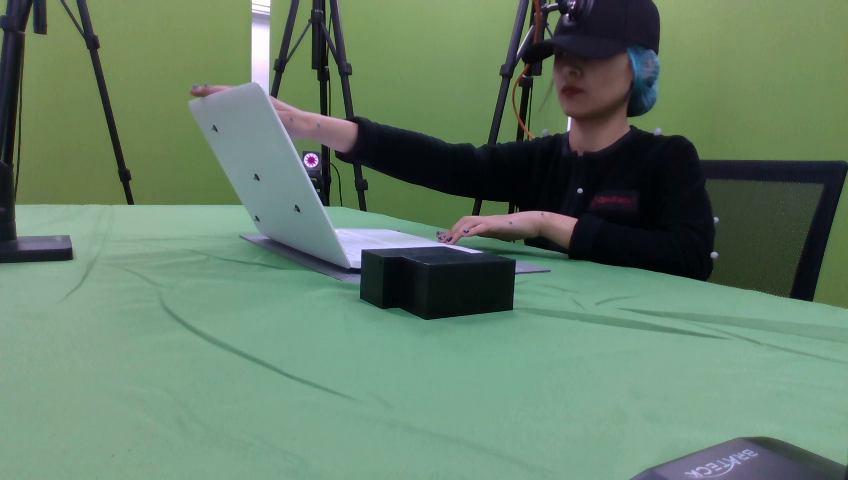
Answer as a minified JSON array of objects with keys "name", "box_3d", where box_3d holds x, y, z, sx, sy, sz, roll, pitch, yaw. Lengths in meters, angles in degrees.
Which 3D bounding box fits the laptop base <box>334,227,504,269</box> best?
[{"name":"laptop base","box_3d":[-0.077,0.009,0.914,0.237,0.023,0.352,2,7,-33]}]

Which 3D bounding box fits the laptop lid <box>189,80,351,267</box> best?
[{"name":"laptop lid","box_3d":[-0.221,-0.087,0.809,0.013,0.242,0.355,-34,25,-24]}]
